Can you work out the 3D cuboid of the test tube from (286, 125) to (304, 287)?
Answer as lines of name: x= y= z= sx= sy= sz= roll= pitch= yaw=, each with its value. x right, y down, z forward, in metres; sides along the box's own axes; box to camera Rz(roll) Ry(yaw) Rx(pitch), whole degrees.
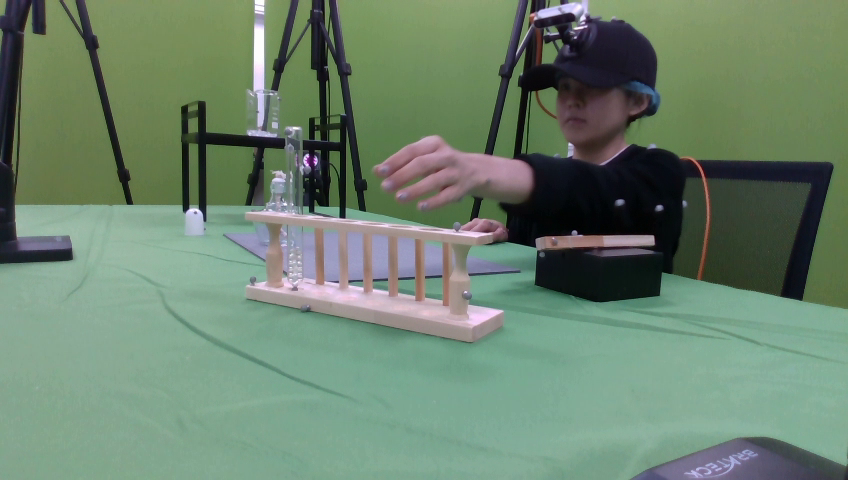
test tube: x=-0.119 y=-0.030 z=0.558 sx=0.017 sy=0.150 sz=0.017 roll=2 pitch=12 yaw=0

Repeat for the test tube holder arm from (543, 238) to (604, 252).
test tube holder arm: x=0.166 y=0.006 z=0.667 sx=0.088 sy=0.015 sz=0.010 roll=0 pitch=4 yaw=-33

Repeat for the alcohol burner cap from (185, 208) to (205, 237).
alcohol burner cap: x=-0.392 y=-0.031 z=1.032 sx=0.034 sy=0.048 sz=0.034 roll=3 pitch=8 yaw=0

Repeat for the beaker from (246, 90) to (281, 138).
beaker: x=-0.354 y=-0.275 z=1.322 sx=0.074 sy=0.100 sz=0.084 roll=4 pitch=8 yaw=12

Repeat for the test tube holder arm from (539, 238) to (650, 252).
test tube holder arm: x=0.201 y=0.006 z=0.697 sx=0.179 sy=0.015 sz=0.013 roll=0 pitch=4 yaw=-35

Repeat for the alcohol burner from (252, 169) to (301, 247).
alcohol burner: x=-0.228 y=-0.050 z=0.937 sx=0.078 sy=0.119 sz=0.078 roll=1 pitch=7 yaw=0

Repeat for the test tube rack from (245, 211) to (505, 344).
test tube rack: x=-0.049 y=0.025 z=0.547 sx=0.241 sy=0.085 sz=0.067 roll=7 pitch=8 yaw=29
